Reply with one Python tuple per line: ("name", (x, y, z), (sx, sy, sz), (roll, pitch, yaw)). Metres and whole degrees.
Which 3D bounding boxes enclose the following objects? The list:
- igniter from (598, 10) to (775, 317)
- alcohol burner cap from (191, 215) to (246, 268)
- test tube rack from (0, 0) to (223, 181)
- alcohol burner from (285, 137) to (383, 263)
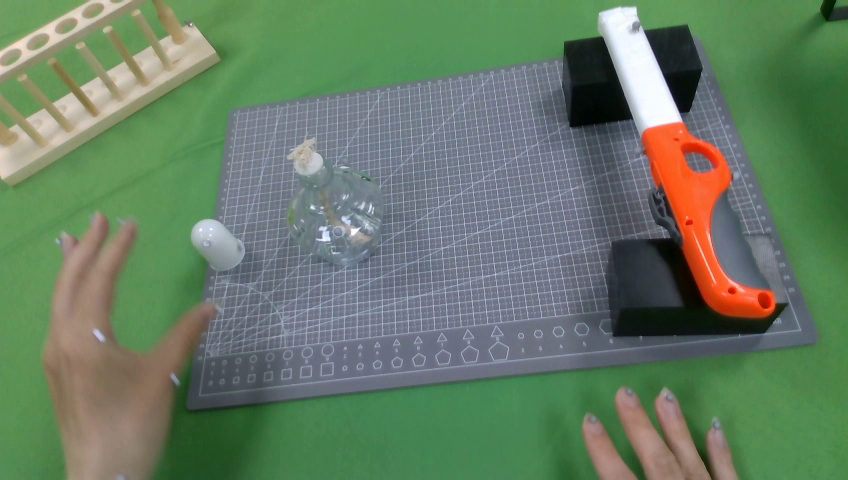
("igniter", (0.174, -0.069, 0.429), (0.057, 0.025, 0.273), (-11, 57, 5))
("alcohol burner cap", (-0.171, -0.001, 0.499), (0.034, 0.048, 0.033), (-5, 61, 9))
("test tube rack", (-0.336, -0.168, 0.602), (0.242, 0.086, 0.066), (-35, 60, -11))
("alcohol burner", (-0.072, -0.033, 0.458), (0.078, 0.120, 0.077), (-5, 57, 8))
